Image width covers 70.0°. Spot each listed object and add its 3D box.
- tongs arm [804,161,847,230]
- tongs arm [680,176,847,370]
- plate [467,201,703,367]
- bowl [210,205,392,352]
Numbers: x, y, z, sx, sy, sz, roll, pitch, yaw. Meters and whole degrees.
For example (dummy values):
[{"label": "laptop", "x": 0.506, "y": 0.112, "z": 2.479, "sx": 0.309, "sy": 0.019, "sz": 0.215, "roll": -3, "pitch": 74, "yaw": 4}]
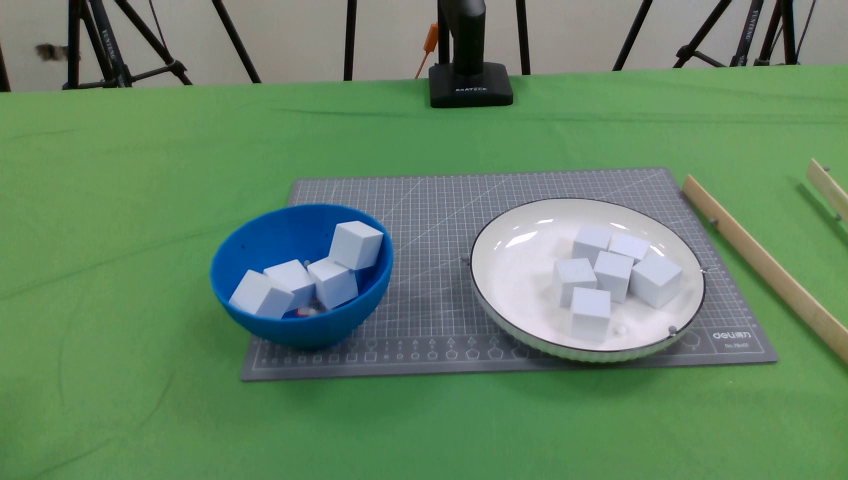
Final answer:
[{"label": "tongs arm", "x": 0.422, "y": 0.043, "z": 0.548, "sx": 0.051, "sy": 0.027, "sz": 0.381, "roll": -3, "pitch": 40, "yaw": 0}, {"label": "tongs arm", "x": 0.344, "y": 0.053, "z": 0.545, "sx": 0.028, "sy": 0.028, "sz": 0.383, "roll": -8, "pitch": 40, "yaw": -12}, {"label": "plate", "x": 0.143, "y": 0.039, "z": 0.558, "sx": 0.208, "sy": 0.039, "sz": 0.205, "roll": -1, "pitch": 39, "yaw": 1}, {"label": "bowl", "x": -0.100, "y": 0.044, "z": 0.527, "sx": 0.151, "sy": 0.077, "sz": 0.150, "roll": -1, "pitch": 39, "yaw": 1}]
